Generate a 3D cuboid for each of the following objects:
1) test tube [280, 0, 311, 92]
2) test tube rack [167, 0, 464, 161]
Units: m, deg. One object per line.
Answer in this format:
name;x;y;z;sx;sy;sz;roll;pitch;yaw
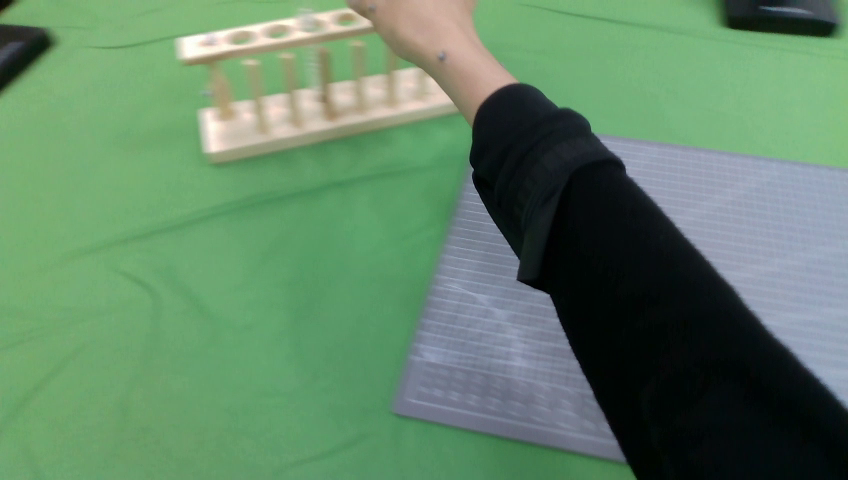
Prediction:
test tube;-0.110;-0.190;0.506;0.017;0.151;0.017;-1;48;2
test tube rack;-0.087;-0.150;0.538;0.243;0.086;0.066;-16;51;-12
